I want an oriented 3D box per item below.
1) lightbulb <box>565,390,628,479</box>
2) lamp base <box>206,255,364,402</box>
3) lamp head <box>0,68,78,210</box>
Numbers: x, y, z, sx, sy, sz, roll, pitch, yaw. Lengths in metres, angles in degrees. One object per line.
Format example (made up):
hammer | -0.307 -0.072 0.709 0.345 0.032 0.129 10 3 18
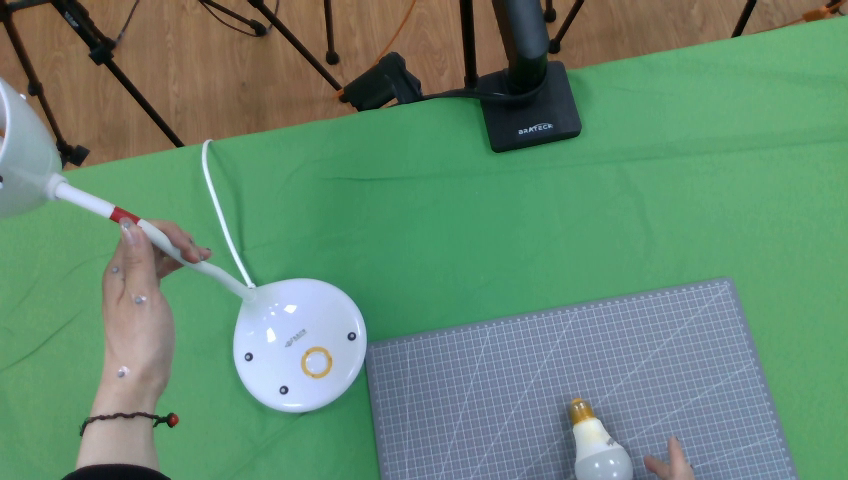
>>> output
lightbulb | 0.183 0.216 0.663 0.059 0.060 0.106 -16 57 0
lamp base | -0.167 0.084 0.663 0.178 0.181 0.160 37 79 17
lamp head | -0.314 -0.067 0.431 0.112 0.123 0.112 0 80 1
